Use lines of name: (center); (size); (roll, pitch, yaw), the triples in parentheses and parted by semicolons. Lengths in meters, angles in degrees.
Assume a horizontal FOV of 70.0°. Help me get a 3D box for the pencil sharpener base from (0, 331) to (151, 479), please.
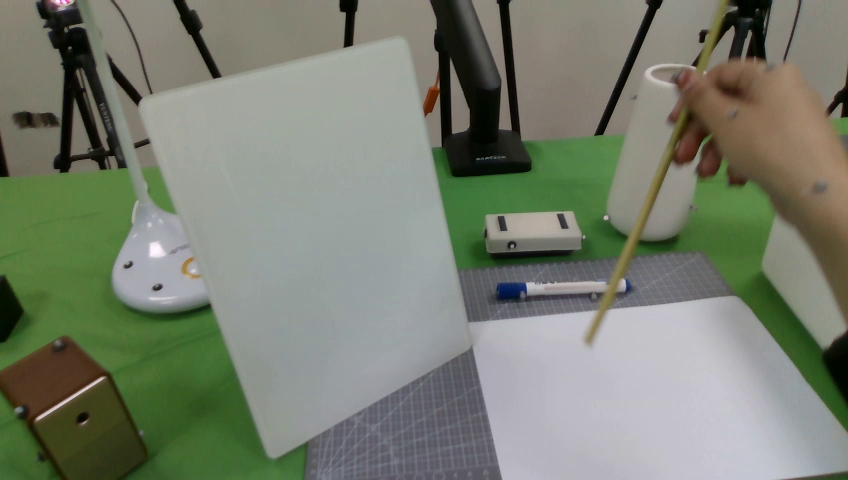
pencil sharpener base: (-0.280, 0.138, 0.488); (0.076, 0.108, 0.061); (24, 44, 32)

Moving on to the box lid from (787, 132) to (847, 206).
box lid: (0.498, -0.004, 0.473); (0.263, 0.015, 0.367); (-3, 35, -2)

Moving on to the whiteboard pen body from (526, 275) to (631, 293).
whiteboard pen body: (0.156, 0.049, 0.664); (0.141, 0.017, 0.017); (-3, 36, -1)

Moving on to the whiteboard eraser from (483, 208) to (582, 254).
whiteboard eraser: (0.129, -0.010, 0.730); (0.113, 0.042, 0.055); (-4, 34, -1)

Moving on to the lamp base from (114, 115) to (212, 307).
lamp base: (-0.291, -0.042, 0.675); (0.178, 0.182, 0.160); (20, 42, 31)

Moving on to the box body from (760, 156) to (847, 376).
box body: (0.502, 0.056, 0.519); (0.254, 0.162, 0.360); (-4, 36, -2)

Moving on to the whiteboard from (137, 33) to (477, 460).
whiteboard: (-0.104, -0.006, 0.558); (0.217, 0.307, 0.142); (-24, 22, -26)

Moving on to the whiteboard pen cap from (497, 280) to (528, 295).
whiteboard pen cap: (0.097, 0.052, 0.663); (0.033, 0.018, 0.018); (-1, 36, -3)

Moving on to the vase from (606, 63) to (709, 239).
vase: (0.277, -0.100, 0.713); (0.098, 0.202, 0.097); (0, 36, 1)

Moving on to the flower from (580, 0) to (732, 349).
flower: (0.173, -0.097, 0.388); (0.044, 0.361, 0.038); (23, -1, 5)

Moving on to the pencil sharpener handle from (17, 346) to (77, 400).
pencil sharpener handle: (-0.318, 0.109, 0.509); (0.030, 0.068, 0.036); (24, 52, 32)
